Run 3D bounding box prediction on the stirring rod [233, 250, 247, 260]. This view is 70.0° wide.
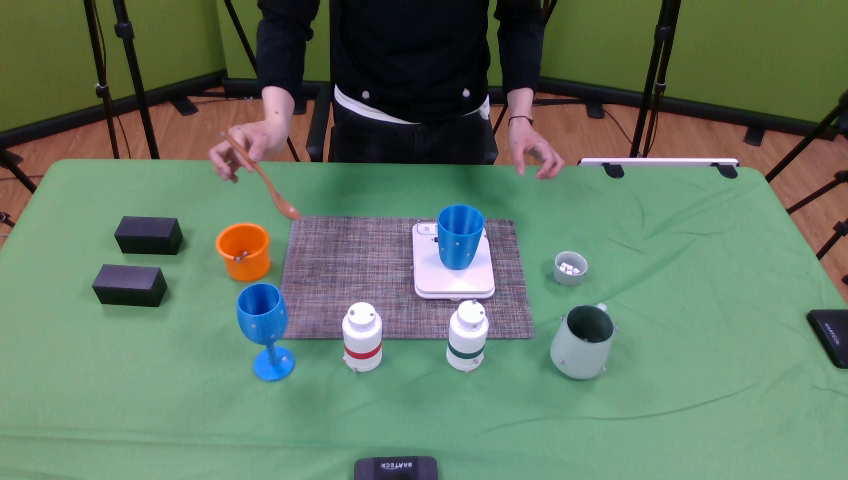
[{"bbox_3d":[-0.323,0.026,1.067,0.014,0.006,0.176,-8,4,-13],"label":"stirring rod"}]

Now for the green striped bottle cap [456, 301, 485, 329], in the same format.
[{"bbox_3d":[0.073,0.116,0.943,0.044,0.020,0.044,3,46,-3],"label":"green striped bottle cap"}]

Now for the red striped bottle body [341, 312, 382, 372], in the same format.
[{"bbox_3d":[-0.100,0.154,0.972,0.063,0.120,0.062,2,46,-1],"label":"red striped bottle body"}]

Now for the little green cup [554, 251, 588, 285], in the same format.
[{"bbox_3d":[0.276,0.055,1.151,0.061,0.039,0.061,1,46,-1],"label":"little green cup"}]

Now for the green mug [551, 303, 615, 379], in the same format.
[{"bbox_3d":[0.271,0.157,1.007,0.092,0.105,0.125,27,50,21],"label":"green mug"}]

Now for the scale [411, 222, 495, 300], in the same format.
[{"bbox_3d":[0.052,0.031,1.158,0.149,0.032,0.199,1,46,-4],"label":"scale"}]

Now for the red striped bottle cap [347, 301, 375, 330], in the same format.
[{"bbox_3d":[-0.097,0.116,0.934,0.044,0.018,0.044,2,48,-2],"label":"red striped bottle cap"}]

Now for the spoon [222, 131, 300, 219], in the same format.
[{"bbox_3d":[-0.268,-0.106,1.007,0.021,0.195,0.041,-25,33,10],"label":"spoon"}]

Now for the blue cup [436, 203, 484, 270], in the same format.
[{"bbox_3d":[0.061,-0.001,1.099,0.093,0.101,0.092,2,44,-2],"label":"blue cup"}]

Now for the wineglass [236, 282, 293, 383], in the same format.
[{"bbox_3d":[-0.243,0.143,0.934,0.074,0.173,0.073,2,46,-2],"label":"wineglass"}]

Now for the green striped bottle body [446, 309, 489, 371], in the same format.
[{"bbox_3d":[0.070,0.155,0.984,0.063,0.120,0.063,2,46,-2],"label":"green striped bottle body"}]
